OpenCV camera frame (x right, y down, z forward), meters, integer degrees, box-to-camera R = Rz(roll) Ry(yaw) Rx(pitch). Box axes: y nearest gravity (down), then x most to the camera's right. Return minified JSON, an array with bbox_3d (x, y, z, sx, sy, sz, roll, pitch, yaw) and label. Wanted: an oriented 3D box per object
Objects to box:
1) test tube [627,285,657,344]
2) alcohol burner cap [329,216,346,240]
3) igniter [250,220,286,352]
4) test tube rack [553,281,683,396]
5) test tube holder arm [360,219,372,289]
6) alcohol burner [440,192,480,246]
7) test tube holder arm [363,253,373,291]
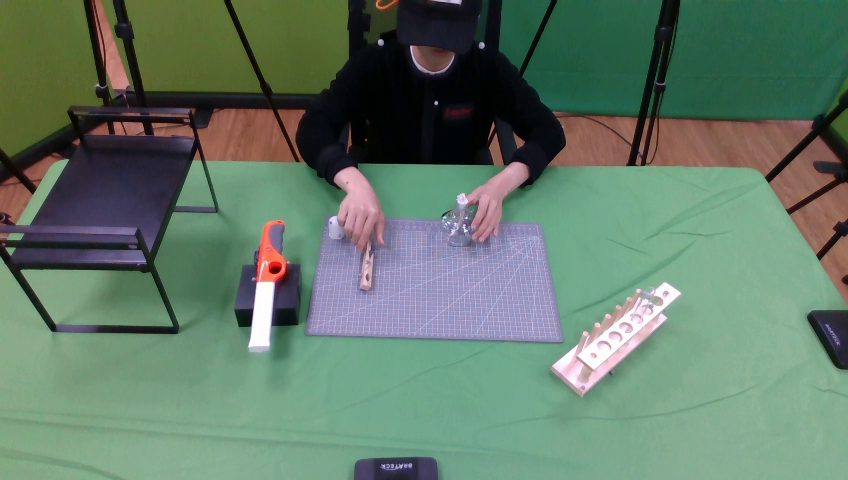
[{"bbox_3d":[0.350,0.124,0.983,0.017,0.151,0.017,0,49,0],"label":"test tube"},{"bbox_3d":[-0.171,-0.026,1.191,0.034,0.048,0.033,1,46,-1],"label":"alcohol burner cap"},{"bbox_3d":[-0.269,0.068,1.041,0.057,0.025,0.274,1,48,-7],"label":"igniter"},{"bbox_3d":[0.329,0.153,1.023,0.242,0.085,0.066,-30,54,-28],"label":"test tube rack"},{"bbox_3d":[-0.110,0.024,1.161,0.013,0.015,0.177,27,38,-27],"label":"test tube holder arm"},{"bbox_3d":[0.072,-0.046,1.175,0.078,0.119,0.077,2,45,-2],"label":"alcohol burner"},{"bbox_3d":[-0.104,0.058,1.132,0.010,0.015,0.087,28,38,-26],"label":"test tube holder arm"}]
